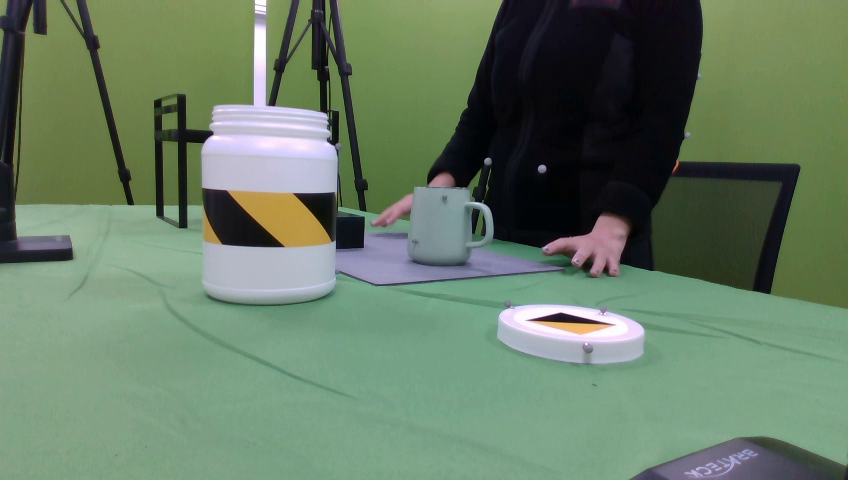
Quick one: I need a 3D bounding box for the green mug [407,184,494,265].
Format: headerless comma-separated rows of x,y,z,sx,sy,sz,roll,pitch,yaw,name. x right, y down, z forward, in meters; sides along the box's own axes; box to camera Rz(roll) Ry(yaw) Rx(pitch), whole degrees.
0.038,-0.021,0.828,0.125,0.105,0.093,6,8,29,green mug

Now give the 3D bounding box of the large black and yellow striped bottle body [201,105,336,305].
-0.154,-0.038,0.606,0.131,0.184,0.130,2,7,0,large black and yellow striped bottle body

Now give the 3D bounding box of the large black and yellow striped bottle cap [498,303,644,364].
0.117,0.072,0.487,0.115,0.019,0.115,1,8,0,large black and yellow striped bottle cap
